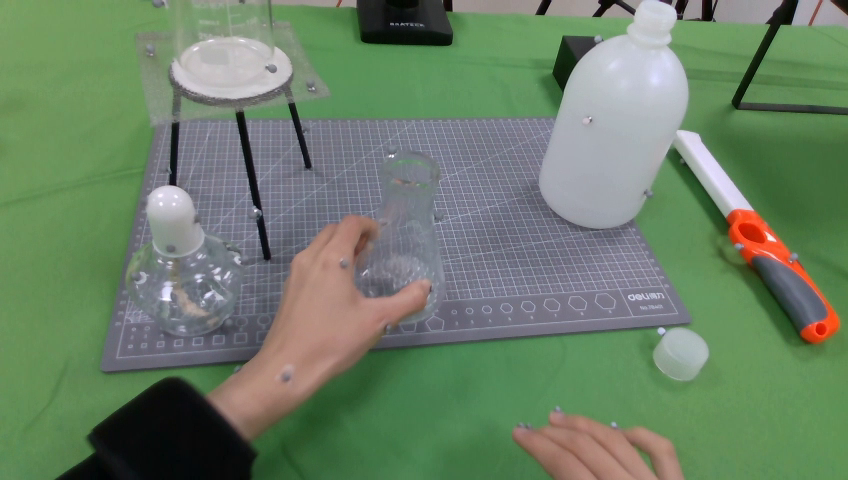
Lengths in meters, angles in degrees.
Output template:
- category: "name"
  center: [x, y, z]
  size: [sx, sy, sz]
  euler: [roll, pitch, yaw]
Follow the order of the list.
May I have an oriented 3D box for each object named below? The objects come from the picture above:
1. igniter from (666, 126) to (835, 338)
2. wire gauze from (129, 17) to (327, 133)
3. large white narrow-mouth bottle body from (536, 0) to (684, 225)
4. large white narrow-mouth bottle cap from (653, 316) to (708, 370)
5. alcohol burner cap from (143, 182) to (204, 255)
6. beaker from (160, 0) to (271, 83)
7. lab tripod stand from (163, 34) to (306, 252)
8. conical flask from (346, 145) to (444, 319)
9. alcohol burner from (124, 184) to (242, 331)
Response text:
- category: "igniter"
  center: [0.303, -0.021, 0.580]
  size: [0.057, 0.025, 0.273]
  euler: [6, 44, -18]
- category: "wire gauze"
  center: [-0.147, -0.131, 0.449]
  size: [0.122, 0.011, 0.123]
  euler: [-15, 54, -19]
- category: "large white narrow-mouth bottle body"
  center: [0.165, -0.112, 0.527]
  size: [0.102, 0.196, 0.101]
  euler: [4, 45, -3]
- category: "large white narrow-mouth bottle cap"
  center: [0.200, 0.080, 0.471]
  size: [0.038, 0.024, 0.037]
  euler: [4, 45, -4]
- category: "alcohol burner cap"
  center: [-0.163, -0.016, 0.390]
  size: [0.034, 0.048, 0.033]
  euler: [4, 51, -5]
- category: "beaker"
  center: [-0.146, -0.167, 0.415]
  size: [0.084, 0.101, 0.073]
  euler: [-7, 49, -15]
- category: "lab tripod stand"
  center: [-0.150, -0.084, 0.495]
  size: [0.148, 0.132, 0.147]
  euler: [6, 46, -6]
- category: "conical flask"
  center: [-0.016, -0.007, 0.426]
  size: [0.075, 0.123, 0.074]
  euler: [5, 45, -5]
- category: "alcohol burner"
  center: [-0.167, 0.008, 0.416]
  size: [0.078, 0.120, 0.077]
  euler: [6, 44, -5]
